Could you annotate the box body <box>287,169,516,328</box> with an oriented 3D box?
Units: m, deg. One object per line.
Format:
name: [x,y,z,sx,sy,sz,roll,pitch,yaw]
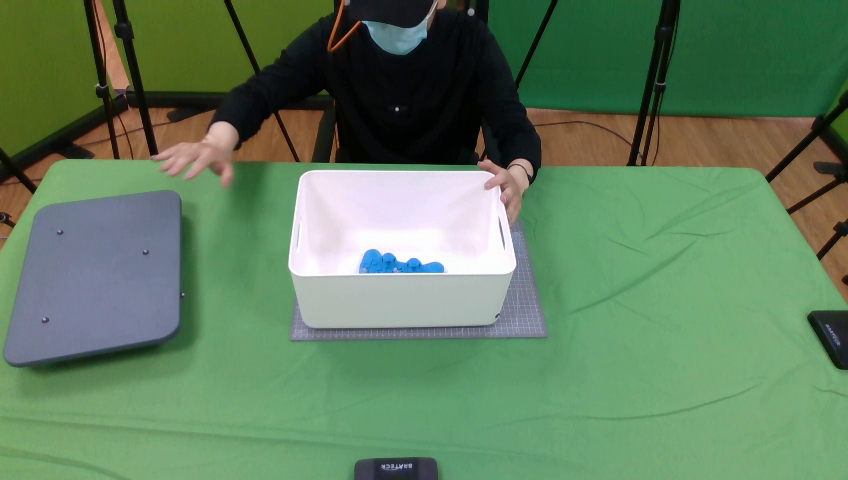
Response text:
box body: [-0.040,0.015,1.075,0.364,0.161,0.252,-1,47,-4]

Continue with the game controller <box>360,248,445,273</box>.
game controller: [-0.043,0.056,1.108,0.155,0.052,0.096,12,52,8]

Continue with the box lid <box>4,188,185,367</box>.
box lid: [-0.558,0.048,1.060,0.264,0.015,0.369,-10,48,-12]
